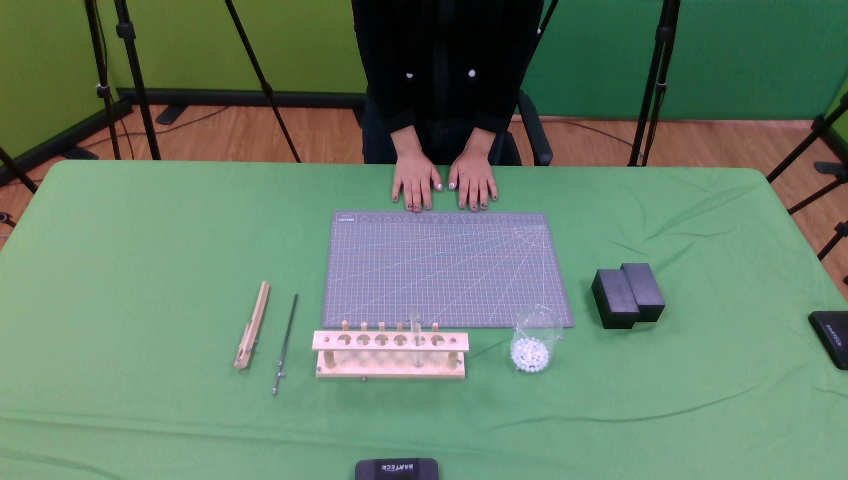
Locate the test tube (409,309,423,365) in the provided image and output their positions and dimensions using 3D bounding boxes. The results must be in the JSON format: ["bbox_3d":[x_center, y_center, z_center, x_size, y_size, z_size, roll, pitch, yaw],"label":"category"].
[{"bbox_3d":[-0.012,0.153,0.938,0.017,0.151,0.017,-1,50,2],"label":"test tube"}]

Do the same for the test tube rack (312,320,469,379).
[{"bbox_3d":[-0.054,0.173,0.984,0.242,0.085,0.066,1,46,-3],"label":"test tube rack"}]

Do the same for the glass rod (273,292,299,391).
[{"bbox_3d":[-0.233,0.167,1.030,0.008,0.008,0.198,3,46,0],"label":"glass rod"}]

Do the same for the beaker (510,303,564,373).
[{"bbox_3d":[0.182,0.164,1.000,0.074,0.101,0.083,2,45,-1],"label":"beaker"}]

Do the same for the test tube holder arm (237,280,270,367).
[{"bbox_3d":[-0.291,0.140,1.042,0.013,0.015,0.177,-17,41,22],"label":"test tube holder arm"}]

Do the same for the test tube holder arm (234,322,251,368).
[{"bbox_3d":[-0.299,0.173,1.013,0.010,0.015,0.087,-17,42,22],"label":"test tube holder arm"}]
